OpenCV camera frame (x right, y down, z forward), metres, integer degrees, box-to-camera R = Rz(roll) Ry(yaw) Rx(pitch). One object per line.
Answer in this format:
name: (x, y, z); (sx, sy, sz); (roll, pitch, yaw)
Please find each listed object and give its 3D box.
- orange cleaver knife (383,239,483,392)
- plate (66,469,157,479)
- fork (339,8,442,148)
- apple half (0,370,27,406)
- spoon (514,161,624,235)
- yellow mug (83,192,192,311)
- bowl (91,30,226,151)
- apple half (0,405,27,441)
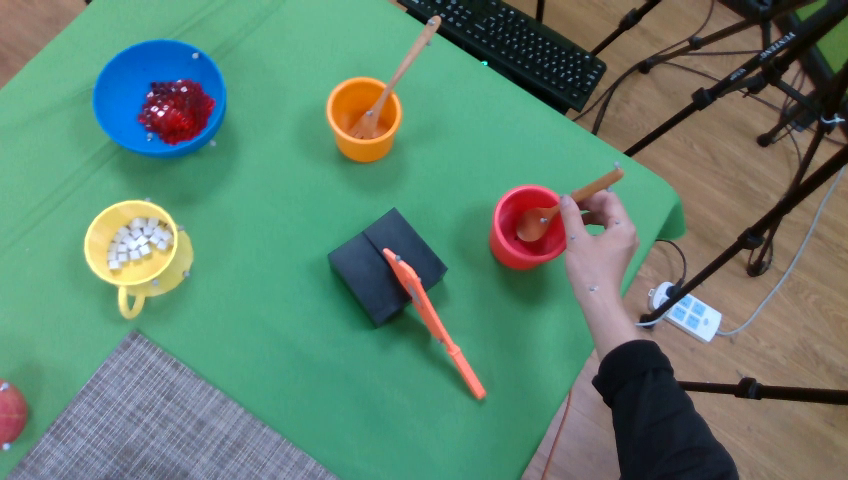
orange cleaver knife: (0.010, 0.090, 0.704); (0.012, 0.076, 0.213); (-34, 113, -13)
plate: (-0.327, 0.342, 0.617); (0.209, 0.038, 0.208); (2, 75, -6)
fork: (-0.043, -0.196, 0.744); (0.028, 0.018, 0.208); (44, 118, 7)
apple half: (-0.457, 0.152, 0.639); (0.081, 0.081, 0.032); (15, 77, -2)
spoon: (0.160, -0.047, 0.696); (0.022, 0.194, 0.041); (-6, 76, -24)
yellow mug: (-0.329, 0.017, 0.696); (0.100, 0.064, 0.130); (5, 75, -6)
bowl: (-0.313, -0.169, 0.742); (0.151, 0.077, 0.150); (2, 75, -6)
apple half: (-0.466, 0.188, 0.630); (0.081, 0.075, 0.053); (16, 77, -5)
